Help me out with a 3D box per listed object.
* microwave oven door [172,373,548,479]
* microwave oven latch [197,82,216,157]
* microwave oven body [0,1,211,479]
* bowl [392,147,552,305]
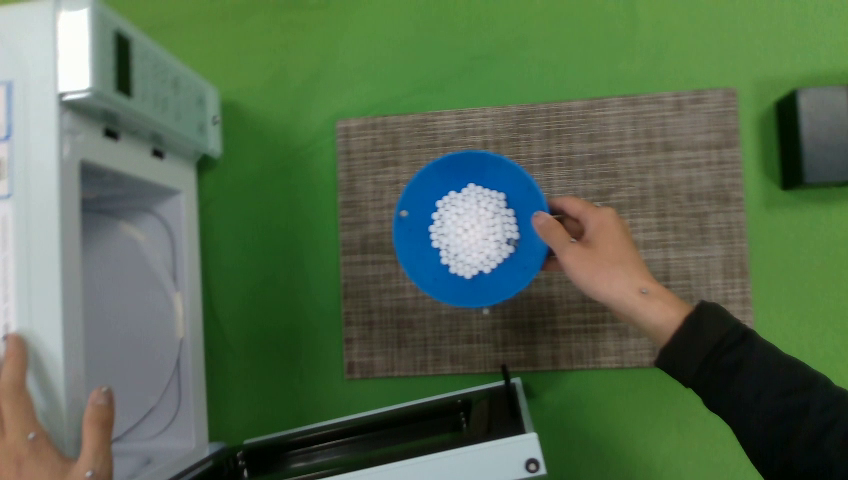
[{"bbox_3d":[-0.072,0.198,0.555,0.356,0.244,0.039,-15,84,5],"label":"microwave oven door"},{"bbox_3d":[-0.258,-0.137,0.694,0.030,0.029,0.079,-5,87,5],"label":"microwave oven latch"},{"bbox_3d":[-0.398,0.047,0.601,0.326,0.260,0.441,-6,87,5],"label":"microwave oven body"},{"bbox_3d":[0.050,-0.010,0.601,0.151,0.077,0.151,-1,84,9],"label":"bowl"}]
